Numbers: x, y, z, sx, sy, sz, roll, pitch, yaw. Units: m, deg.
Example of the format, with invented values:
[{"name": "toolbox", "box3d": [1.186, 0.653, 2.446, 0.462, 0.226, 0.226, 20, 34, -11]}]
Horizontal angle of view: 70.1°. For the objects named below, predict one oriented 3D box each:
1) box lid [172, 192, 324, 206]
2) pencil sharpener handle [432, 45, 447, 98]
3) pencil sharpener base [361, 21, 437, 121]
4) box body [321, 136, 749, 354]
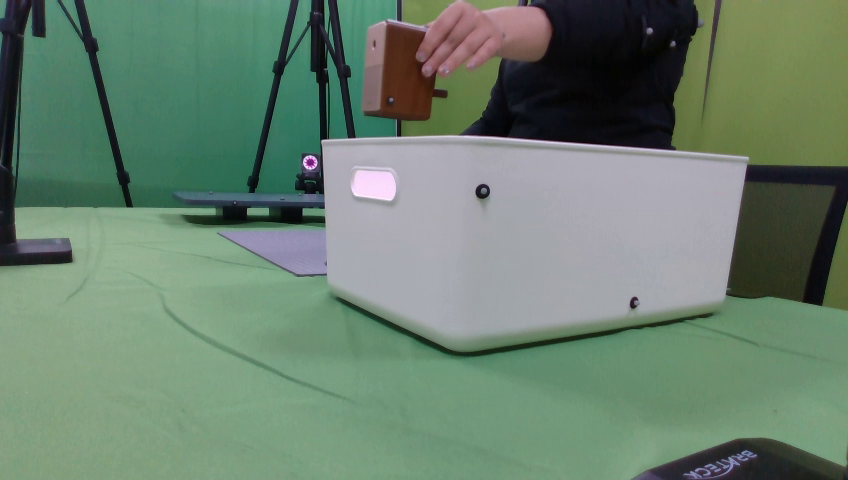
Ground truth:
[{"name": "box lid", "box3d": [-0.355, -0.091, 1.350, 0.373, 0.015, 0.262, -1, 8, -29]}, {"name": "pencil sharpener handle", "box3d": [0.018, -0.213, 0.758, 0.031, 0.067, 0.036, 1, 15, -27]}, {"name": "pencil sharpener base", "box3d": [-0.029, -0.202, 0.735, 0.077, 0.107, 0.061, 1, 9, -27]}, {"name": "box body", "box3d": [0.105, -0.012, 0.603, 0.366, 0.160, 0.253, -2, 8, -33]}]
